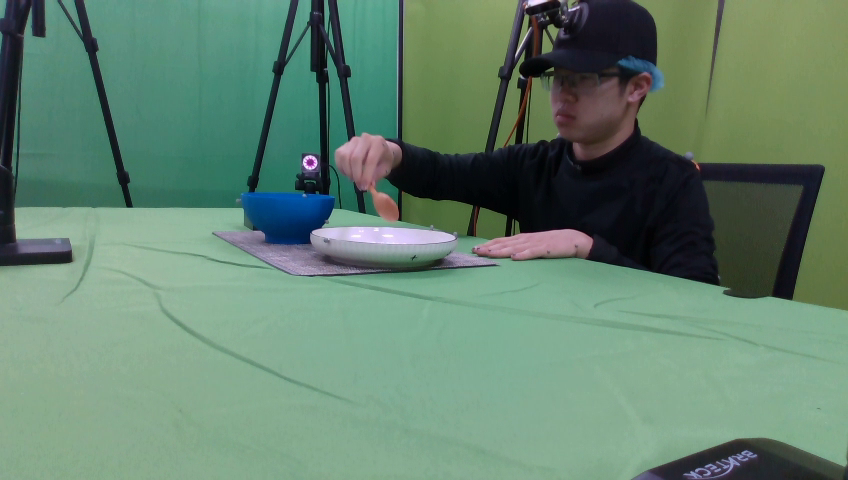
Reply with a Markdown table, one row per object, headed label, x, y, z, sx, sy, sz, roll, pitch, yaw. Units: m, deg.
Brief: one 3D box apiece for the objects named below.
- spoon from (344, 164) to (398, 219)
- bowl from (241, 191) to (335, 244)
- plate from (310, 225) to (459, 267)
| label | x | y | z | sx | sy | sz | roll | pitch | yaw |
| --- | --- | --- | --- | --- | --- | --- | --- | --- | --- |
| spoon | -0.084 | -0.080 | 0.917 | 0.022 | 0.041 | 0.193 | -15 | 30 | -19 |
| bowl | -0.223 | -0.037 | 0.993 | 0.151 | 0.077 | 0.151 | 2 | 7 | 0 |
| plate | -0.055 | 0.008 | 0.851 | 0.208 | 0.039 | 0.207 | 2 | 7 | 0 |
